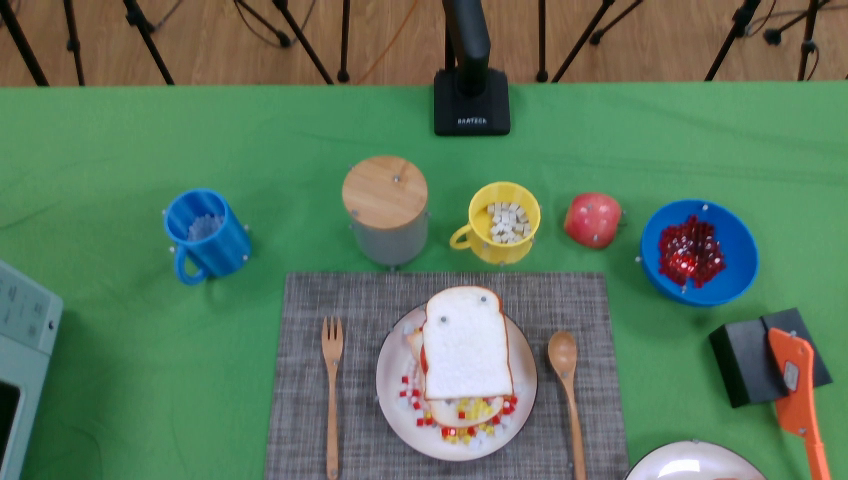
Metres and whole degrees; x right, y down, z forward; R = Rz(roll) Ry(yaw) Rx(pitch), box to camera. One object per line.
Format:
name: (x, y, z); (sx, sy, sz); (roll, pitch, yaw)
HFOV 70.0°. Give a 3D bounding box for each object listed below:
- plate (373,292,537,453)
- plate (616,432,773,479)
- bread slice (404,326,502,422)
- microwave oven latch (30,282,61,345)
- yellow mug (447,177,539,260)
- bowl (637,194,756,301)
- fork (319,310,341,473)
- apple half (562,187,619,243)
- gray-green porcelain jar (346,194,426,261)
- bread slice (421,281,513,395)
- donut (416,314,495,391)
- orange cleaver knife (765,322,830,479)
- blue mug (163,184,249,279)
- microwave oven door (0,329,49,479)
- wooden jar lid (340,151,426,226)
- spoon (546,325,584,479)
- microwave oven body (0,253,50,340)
plate: (0.039, 0.166, 0.778); (0.208, 0.039, 0.206); (0, 66, 0)
plate: (0.319, 0.333, 0.707); (0.209, 0.038, 0.207); (0, 66, 0)
bread slice: (0.044, 0.164, 0.779); (0.107, 0.018, 0.133); (-16, 68, -6)
microwave oven latch: (-0.503, 0.096, 0.793); (0.030, 0.030, 0.078); (4, 67, 2)
yellow mug: (0.093, -0.024, 0.851); (0.131, 0.064, 0.099); (-21, 67, -8)
bowl: (0.357, 0.021, 0.823); (0.151, 0.077, 0.150); (0, 66, 1)
fork: (-0.120, 0.190, 0.778); (0.028, 0.019, 0.205); (0, 64, -11)
apple half: (0.241, -0.043, 0.866); (0.074, 0.054, 0.080); (20, 68, 12)
gray-green porcelain jar: (-0.050, -0.037, 0.824); (0.106, 0.127, 0.105); (0, 66, 0)
bread slice: (0.045, 0.113, 0.704); (0.105, 0.019, 0.131); (-5, 79, 5)
donut: (0.040, 0.140, 0.759); (0.099, 0.048, 0.098); (0, 66, 1)
orange cleaver knife: (0.455, 0.205, 0.739); (0.012, 0.077, 0.211); (-9, 88, -11)
blue mug: (-0.300, -0.002, 0.820); (0.082, 0.106, 0.116); (19, 68, 9)
microwave oven door: (-0.508, 0.254, 0.613); (0.039, 0.245, 0.353); (0, 66, 1)
wooden jar lid: (-0.052, -0.063, 0.766); (0.108, 0.021, 0.107); (1, 64, -2)
spoon: (0.183, 0.204, 0.768); (0.042, 0.022, 0.192); (5, 64, -20)
microwave oven body: (-0.653, 0.217, 0.635); (0.326, 0.262, 0.438); (0, 67, 0)
